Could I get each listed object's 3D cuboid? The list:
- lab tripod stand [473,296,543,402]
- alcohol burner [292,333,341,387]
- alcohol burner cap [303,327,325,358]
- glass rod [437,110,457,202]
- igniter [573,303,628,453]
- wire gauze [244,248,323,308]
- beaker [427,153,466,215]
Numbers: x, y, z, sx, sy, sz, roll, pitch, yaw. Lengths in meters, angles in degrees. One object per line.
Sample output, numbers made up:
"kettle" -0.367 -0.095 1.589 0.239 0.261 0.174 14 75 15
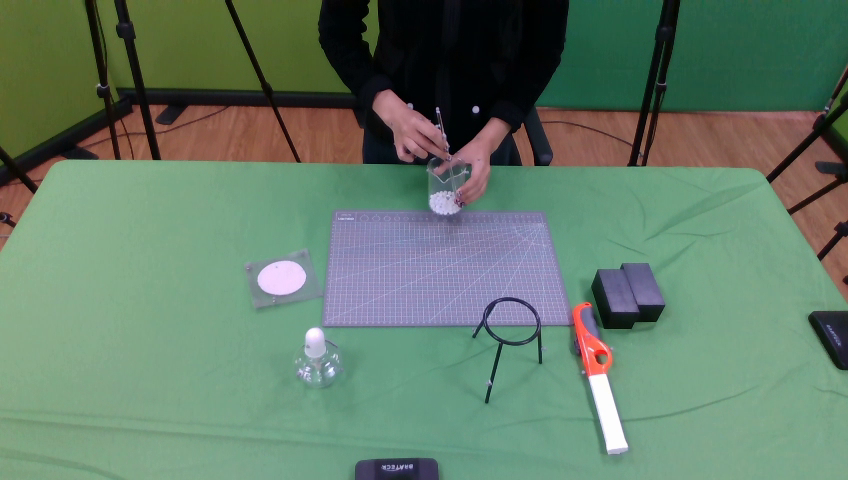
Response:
"lab tripod stand" 0.132 0.168 0.969 0.148 0.132 0.147 3 48 -3
"alcohol burner" -0.170 0.179 0.950 0.078 0.120 0.077 2 48 -2
"alcohol burner cap" -0.169 0.154 0.925 0.034 0.048 0.033 4 41 -3
"glass rod" 0.043 -0.153 1.136 0.008 0.201 0.008 -9 38 7
"igniter" 0.288 0.216 1.006 0.057 0.025 0.274 -9 46 8
"wire gauze" -0.262 0.071 1.121 0.125 0.011 0.120 -11 48 -17
"beaker" 0.042 -0.103 1.171 0.074 0.101 0.083 5 43 7
